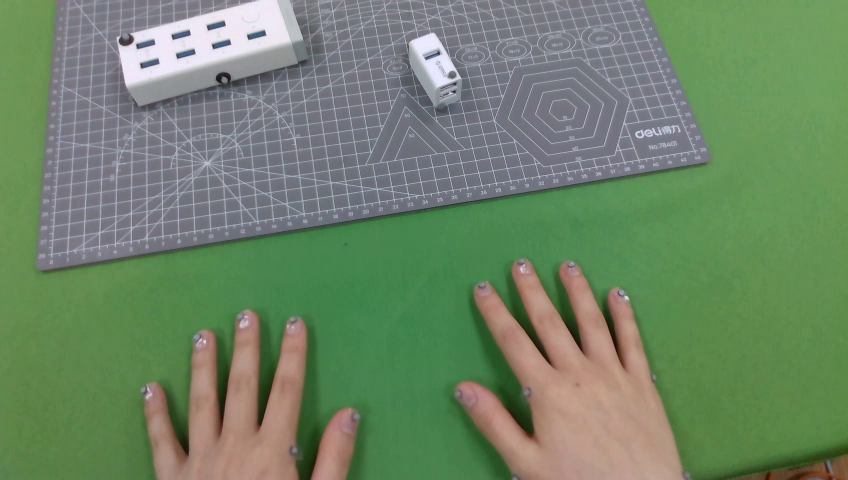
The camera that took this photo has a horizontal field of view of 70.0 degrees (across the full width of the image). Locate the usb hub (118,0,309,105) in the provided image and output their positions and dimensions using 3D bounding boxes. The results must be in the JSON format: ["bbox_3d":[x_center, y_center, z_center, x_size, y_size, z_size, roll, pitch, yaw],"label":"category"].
[{"bbox_3d":[-0.151,-0.139,0.437,0.125,0.025,0.049,-17,67,-8],"label":"usb hub"}]

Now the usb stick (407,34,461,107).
[{"bbox_3d":[0.004,-0.126,0.433,0.021,0.027,0.058,-24,66,-9],"label":"usb stick"}]
